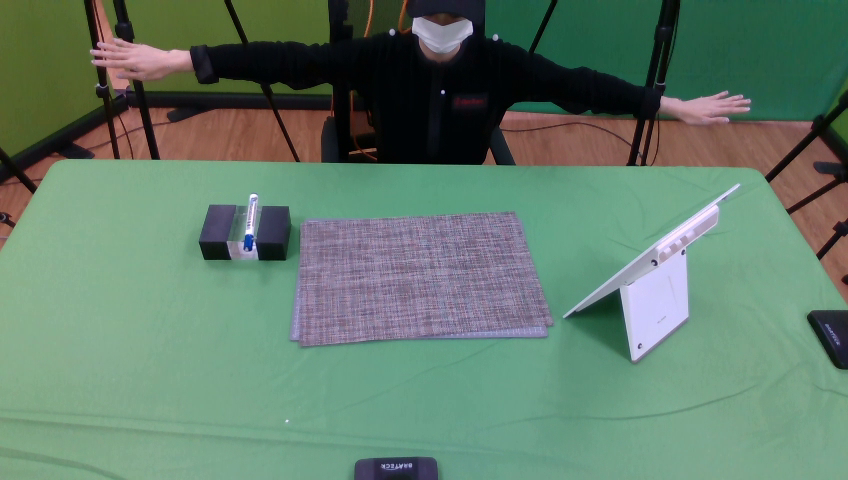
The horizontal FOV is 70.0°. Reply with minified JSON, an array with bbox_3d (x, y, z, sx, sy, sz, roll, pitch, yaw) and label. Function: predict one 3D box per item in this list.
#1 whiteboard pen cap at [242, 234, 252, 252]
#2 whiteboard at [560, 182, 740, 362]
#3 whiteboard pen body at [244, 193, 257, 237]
[{"bbox_3d":[-0.322,0.004,1.103,0.018,0.018,0.033,-4,47,-8],"label":"whiteboard pen cap"},{"bbox_3d":[0.406,0.075,1.001,0.217,0.306,0.143,-28,73,-28],"label":"whiteboard"},{"bbox_3d":[-0.328,-0.039,1.145,0.017,0.017,0.140,-3,46,-7],"label":"whiteboard pen body"}]
